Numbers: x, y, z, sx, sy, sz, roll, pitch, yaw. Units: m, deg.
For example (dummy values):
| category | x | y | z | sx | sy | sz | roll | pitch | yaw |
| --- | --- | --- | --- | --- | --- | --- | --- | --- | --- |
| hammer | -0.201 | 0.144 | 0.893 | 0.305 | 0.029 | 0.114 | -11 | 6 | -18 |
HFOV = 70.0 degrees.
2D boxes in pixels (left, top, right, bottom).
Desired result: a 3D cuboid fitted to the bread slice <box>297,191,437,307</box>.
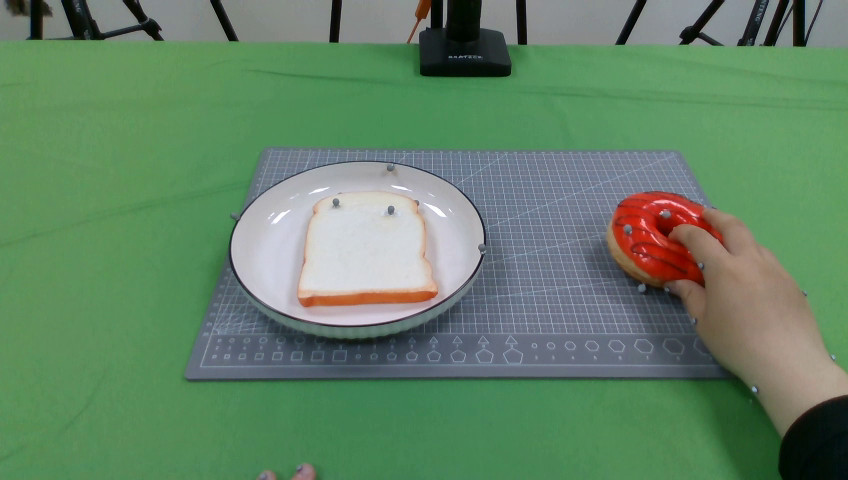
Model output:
| category | x | y | z | sx | sy | sz | roll | pitch | yaw |
| --- | --- | --- | --- | --- | --- | --- | --- | --- | --- |
| bread slice | -0.052 | 0.004 | 0.512 | 0.107 | 0.018 | 0.133 | -3 | 42 | -8 |

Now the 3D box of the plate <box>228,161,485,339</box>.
| category | x | y | z | sx | sy | sz | roll | pitch | yaw |
| --- | --- | --- | --- | --- | --- | --- | --- | --- | --- |
| plate | -0.053 | 0.007 | 0.507 | 0.209 | 0.038 | 0.207 | 1 | 41 | -1 |

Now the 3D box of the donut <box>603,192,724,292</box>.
| category | x | y | z | sx | sy | sz | roll | pitch | yaw |
| --- | --- | --- | --- | --- | --- | --- | --- | --- | --- |
| donut | 0.202 | 0.001 | 0.510 | 0.099 | 0.048 | 0.098 | 3 | 50 | -3 |
